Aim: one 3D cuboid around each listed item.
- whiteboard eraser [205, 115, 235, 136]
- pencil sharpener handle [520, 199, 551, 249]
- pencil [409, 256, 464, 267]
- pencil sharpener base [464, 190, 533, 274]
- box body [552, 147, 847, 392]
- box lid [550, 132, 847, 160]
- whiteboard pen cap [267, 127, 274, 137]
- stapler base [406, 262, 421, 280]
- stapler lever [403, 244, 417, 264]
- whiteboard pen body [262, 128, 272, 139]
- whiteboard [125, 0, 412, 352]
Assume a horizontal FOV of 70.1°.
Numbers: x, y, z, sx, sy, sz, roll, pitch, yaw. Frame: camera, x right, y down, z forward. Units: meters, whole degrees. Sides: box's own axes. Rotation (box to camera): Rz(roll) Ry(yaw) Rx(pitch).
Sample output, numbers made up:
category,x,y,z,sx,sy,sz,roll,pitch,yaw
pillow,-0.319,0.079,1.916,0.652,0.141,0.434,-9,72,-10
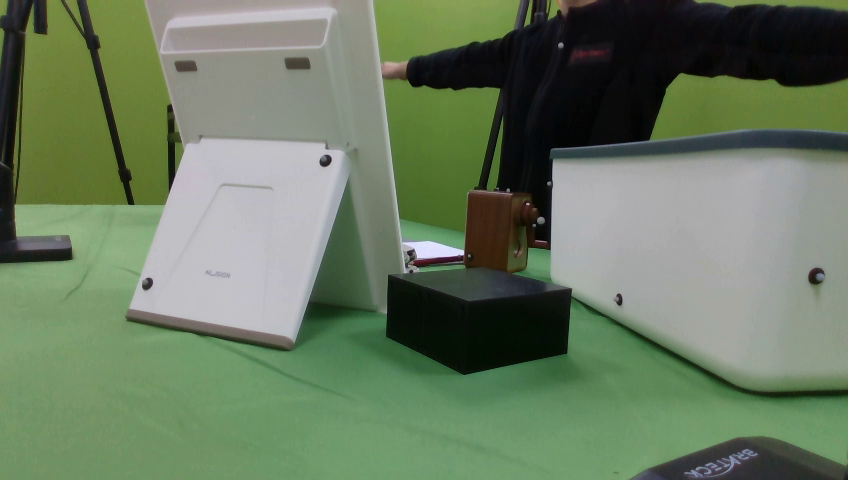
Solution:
category,x,y,z,sx,sy,sz,roll,pitch,yaw
whiteboard eraser,-0.444,-0.250,1.322,0.056,0.042,0.112,-1,8,-15
pencil sharpener handle,0.148,-0.020,0.786,0.030,0.068,0.036,8,30,36
pencil,0.041,0.028,0.850,0.012,0.012,0.195,10,10,44
pencil sharpener base,0.103,-0.012,0.813,0.076,0.107,0.061,8,9,36
box body,0.290,0.002,0.549,0.255,0.160,0.363,2,7,-10
box lid,0.294,-0.072,0.538,0.264,0.015,0.370,1,6,-10
whiteboard pen cap,-0.340,-0.239,1.337,0.018,0.018,0.033,1,-1,-14
stapler base,-0.069,0.027,0.759,0.130,0.024,0.041,9,13,23
stapler lever,-0.066,0.003,0.755,0.117,0.040,0.027,9,13,23
whiteboard pen body,-0.361,-0.245,1.393,0.017,0.017,0.140,0,5,-20
whiteboard,-0.151,-0.050,0.471,0.216,0.305,0.144,6,27,24
